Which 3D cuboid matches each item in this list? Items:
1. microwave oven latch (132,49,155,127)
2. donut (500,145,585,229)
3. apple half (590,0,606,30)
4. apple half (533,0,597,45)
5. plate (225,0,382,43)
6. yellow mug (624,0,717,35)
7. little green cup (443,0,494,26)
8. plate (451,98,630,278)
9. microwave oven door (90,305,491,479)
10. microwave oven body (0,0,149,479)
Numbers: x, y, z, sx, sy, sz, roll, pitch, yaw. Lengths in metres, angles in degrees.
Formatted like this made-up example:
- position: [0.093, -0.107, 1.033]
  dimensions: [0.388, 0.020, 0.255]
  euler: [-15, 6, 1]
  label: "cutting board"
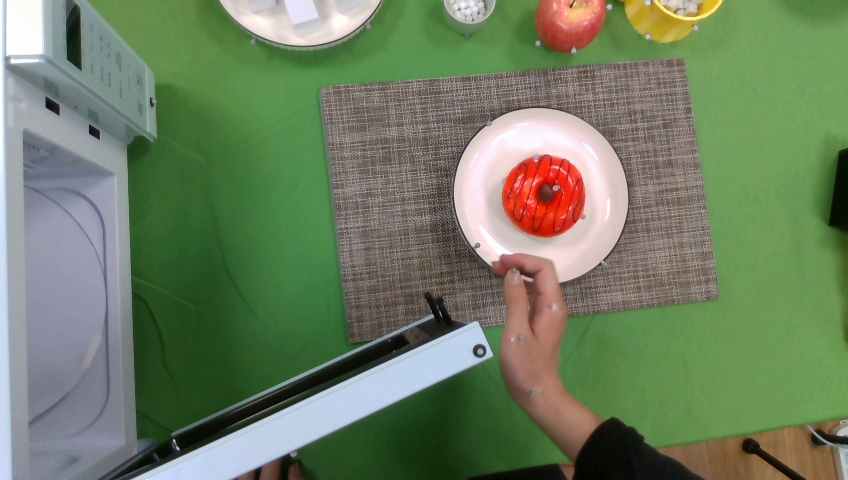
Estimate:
- position: [-0.309, -0.164, 0.655]
  dimensions: [0.030, 0.029, 0.079]
  euler: [-2, 87, -6]
  label: "microwave oven latch"
- position: [0.136, -0.060, 0.695]
  dimensions: [0.099, 0.048, 0.099]
  euler: [0, 88, -4]
  label: "donut"
- position: [0.190, -0.285, 0.712]
  dimensions: [0.033, 0.081, 0.081]
  euler: [-33, 89, -2]
  label: "apple half"
- position: [0.157, -0.263, 0.709]
  dimensions: [0.053, 0.074, 0.081]
  euler: [-33, 93, -2]
  label: "apple half"
- position: [-0.139, -0.326, 0.701]
  dimensions: [0.208, 0.039, 0.207]
  euler: [0, 86, -5]
  label: "plate"
- position: [0.285, -0.309, 0.726]
  dimensions: [0.131, 0.064, 0.099]
  euler: [5, 85, -4]
  label: "yellow mug"
- position: [0.051, -0.286, 0.717]
  dimensions: [0.061, 0.038, 0.061]
  euler: [0, 86, -5]
  label: "little green cup"
- position: [0.133, -0.059, 0.706]
  dimensions: [0.209, 0.038, 0.208]
  euler: [0, 86, -5]
  label: "plate"
- position: [-0.123, 0.149, 0.552]
  dimensions: [0.356, 0.244, 0.039]
  euler: [-24, 87, -6]
  label: "microwave oven door"
- position: [-0.436, 0.014, 0.535]
  dimensions: [0.326, 0.260, 0.441]
  euler: [-4, 87, -6]
  label: "microwave oven body"
